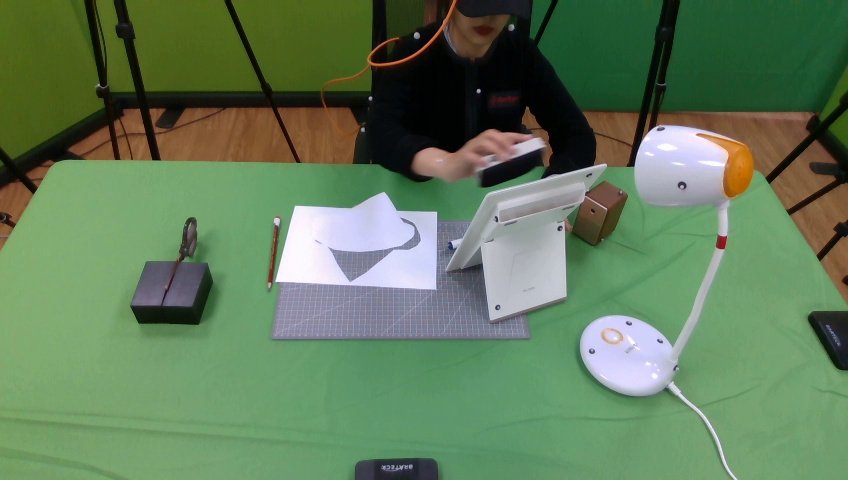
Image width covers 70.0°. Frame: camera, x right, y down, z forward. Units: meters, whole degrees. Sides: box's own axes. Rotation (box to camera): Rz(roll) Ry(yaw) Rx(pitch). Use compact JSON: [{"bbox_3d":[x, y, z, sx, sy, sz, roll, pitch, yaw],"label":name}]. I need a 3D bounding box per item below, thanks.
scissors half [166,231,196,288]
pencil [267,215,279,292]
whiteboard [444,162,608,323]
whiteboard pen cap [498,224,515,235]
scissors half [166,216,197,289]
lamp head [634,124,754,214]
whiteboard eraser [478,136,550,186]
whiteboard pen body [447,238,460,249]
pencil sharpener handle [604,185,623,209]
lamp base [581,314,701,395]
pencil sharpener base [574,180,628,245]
[{"bbox_3d":[-0.441,0.036,1.098,0.013,0.040,0.174,12,28,-10],"label":"scissors half"},{"bbox_3d":[-0.291,0.022,1.164,0.012,0.012,0.192,-2,48,-6],"label":"pencil"},{"bbox_3d":[0.186,0.025,1.029,0.217,0.306,0.143,-14,68,-17],"label":"whiteboard"},{"bbox_3d":[0.166,-0.020,1.222,0.033,0.018,0.018,-20,51,-17],"label":"whiteboard pen cap"},{"bbox_3d":[-0.436,0.020,1.086,0.013,0.040,0.174,7,47,-8],"label":"scissors half"},{"bbox_3d":[0.351,-0.089,0.776,0.112,0.113,0.122,-30,30,-28],"label":"lamp head"},{"bbox_3d":[0.143,-0.123,0.957,0.113,0.056,0.041,-22,69,-8],"label":"whiteboard eraser"},{"bbox_3d":[0.112,-0.006,1.204,0.141,0.017,0.017,-14,49,-18],"label":"whiteboard pen body"},{"bbox_3d":[0.390,-0.091,1.235,0.030,0.068,0.036,-33,70,-31],"label":"pencil sharpener handle"},{"bbox_3d":[0.361,0.145,0.973,0.178,0.181,0.160,34,53,23],"label":"lamp base"},{"bbox_3d":[0.355,-0.056,1.217,0.076,0.107,0.061,-33,56,-31],"label":"pencil sharpener base"}]
